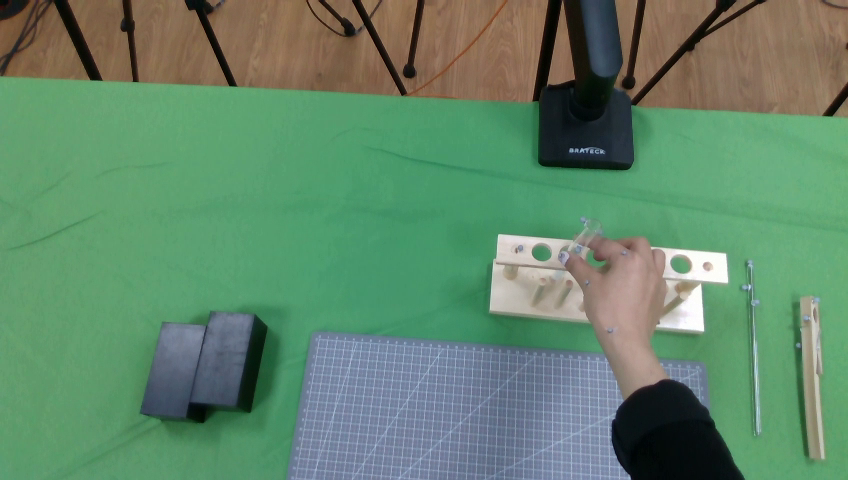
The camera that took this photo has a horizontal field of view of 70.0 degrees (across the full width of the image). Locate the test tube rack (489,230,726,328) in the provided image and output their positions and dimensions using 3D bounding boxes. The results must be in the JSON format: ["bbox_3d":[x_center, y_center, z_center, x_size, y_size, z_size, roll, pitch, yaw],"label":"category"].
[{"bbox_3d":[0.198,0.045,0.681,0.242,0.086,0.066,5,67,4],"label":"test tube rack"}]

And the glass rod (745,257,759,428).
[{"bbox_3d":[0.373,0.112,0.689,0.008,0.008,0.198,8,68,5],"label":"glass rod"}]

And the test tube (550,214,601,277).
[{"bbox_3d":[0.158,0.010,0.643,0.017,0.151,0.017,1,68,-2],"label":"test tube"}]

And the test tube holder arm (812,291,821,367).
[{"bbox_3d":[0.439,0.101,0.686,0.010,0.015,0.087,22,66,-21],"label":"test tube holder arm"}]

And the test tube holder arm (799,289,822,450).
[{"bbox_3d":[0.425,0.139,0.667,0.013,0.015,0.177,21,67,-21],"label":"test tube holder arm"}]
